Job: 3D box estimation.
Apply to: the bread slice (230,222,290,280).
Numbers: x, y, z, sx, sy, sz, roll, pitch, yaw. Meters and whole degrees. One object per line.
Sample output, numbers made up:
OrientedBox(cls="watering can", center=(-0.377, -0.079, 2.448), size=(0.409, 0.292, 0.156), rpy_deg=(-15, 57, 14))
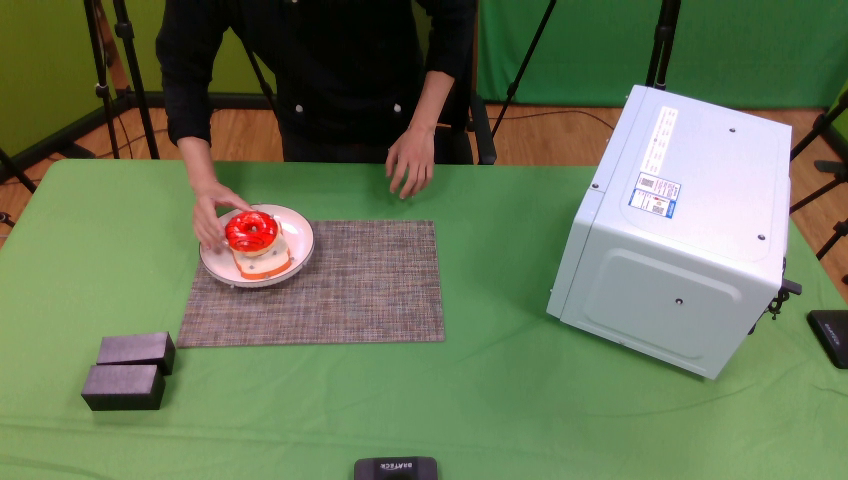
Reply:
OrientedBox(cls="bread slice", center=(-0.308, 0.019, 1.141), size=(0.105, 0.019, 0.130), rpy_deg=(-17, 49, -18))

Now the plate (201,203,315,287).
OrientedBox(cls="plate", center=(-0.310, 0.013, 1.145), size=(0.208, 0.039, 0.206), rpy_deg=(2, 46, -2))

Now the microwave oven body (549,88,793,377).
OrientedBox(cls="microwave oven body", center=(0.456, -0.028, 1.087), size=(0.325, 0.261, 0.440), rpy_deg=(20, 47, 16))

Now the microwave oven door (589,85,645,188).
OrientedBox(cls="microwave oven door", center=(0.342, -0.107, 1.148), size=(0.039, 0.245, 0.354), rpy_deg=(20, 48, 15))

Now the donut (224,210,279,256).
OrientedBox(cls="donut", center=(-0.315, -0.014, 1.110), size=(0.099, 0.048, 0.098), rpy_deg=(2, 51, -2))

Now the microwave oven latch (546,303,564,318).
OrientedBox(cls="microwave oven latch", center=(0.242, 0.102, 1.081), size=(0.030, 0.029, 0.079), rpy_deg=(22, 48, 17))
